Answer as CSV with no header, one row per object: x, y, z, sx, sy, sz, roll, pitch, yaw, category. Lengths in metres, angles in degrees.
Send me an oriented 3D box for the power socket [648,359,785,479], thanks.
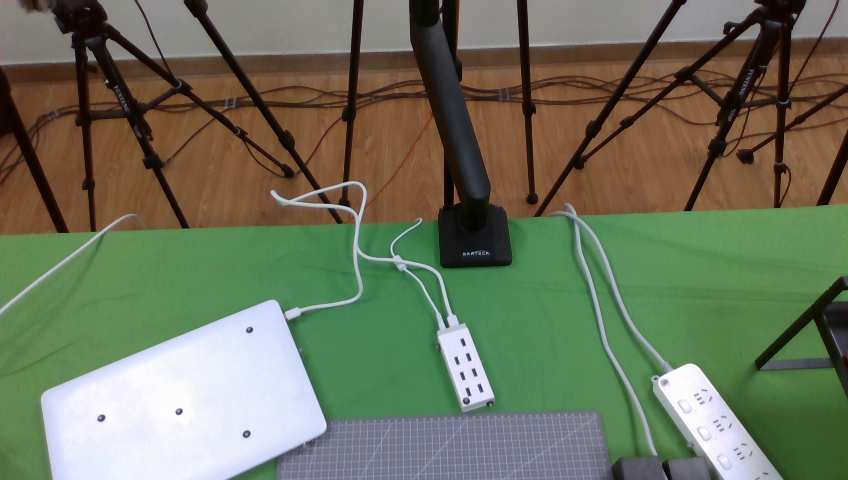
0.398,0.263,0.827,0.072,0.033,0.224,-20,57,-14,power socket

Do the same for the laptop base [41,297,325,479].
-0.342,0.240,0.860,0.355,0.023,0.233,-23,61,-14,laptop base

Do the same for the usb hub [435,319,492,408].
0.056,0.180,0.892,0.049,0.025,0.124,-15,57,-9,usb hub

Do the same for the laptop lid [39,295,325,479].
-0.341,0.234,0.848,0.357,0.013,0.239,-21,60,-13,laptop lid

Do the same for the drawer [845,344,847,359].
0.594,0.183,0.633,0.212,0.074,0.192,-2,55,-1,drawer

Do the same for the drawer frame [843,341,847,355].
0.598,0.181,0.633,0.214,0.083,0.199,-2,55,-2,drawer frame
